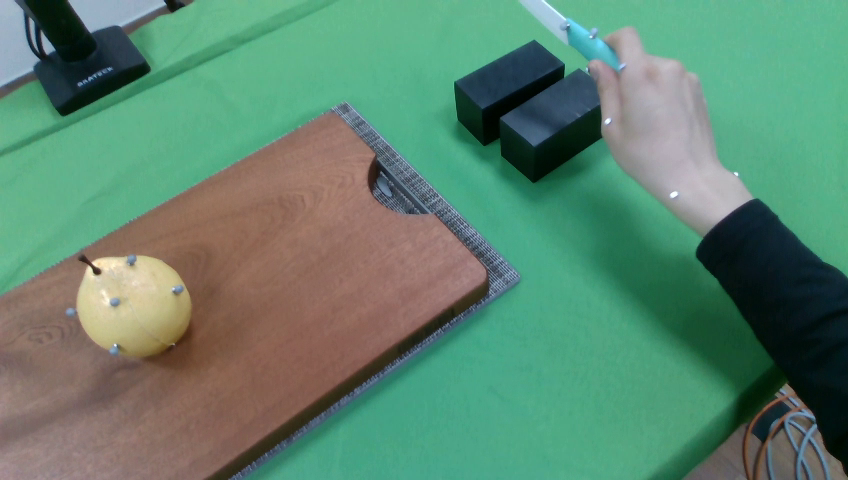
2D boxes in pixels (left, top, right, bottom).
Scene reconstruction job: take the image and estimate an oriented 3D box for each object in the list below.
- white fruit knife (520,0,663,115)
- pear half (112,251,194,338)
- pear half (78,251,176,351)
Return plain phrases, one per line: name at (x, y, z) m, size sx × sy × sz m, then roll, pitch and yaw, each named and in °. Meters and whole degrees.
white fruit knife at (0.124, -0.180, 0.515) m, size 0.016 × 0.027 × 0.206 m, roll -36°, pitch 71°, yaw -24°
pear half at (-0.203, 0.035, 0.472) m, size 0.031 × 0.089 × 0.069 m, roll -27°, pitch 49°, yaw -8°
pear half at (-0.237, 0.044, 0.460) m, size 0.056 × 0.111 × 0.075 m, roll -26°, pitch 52°, yaw -8°
